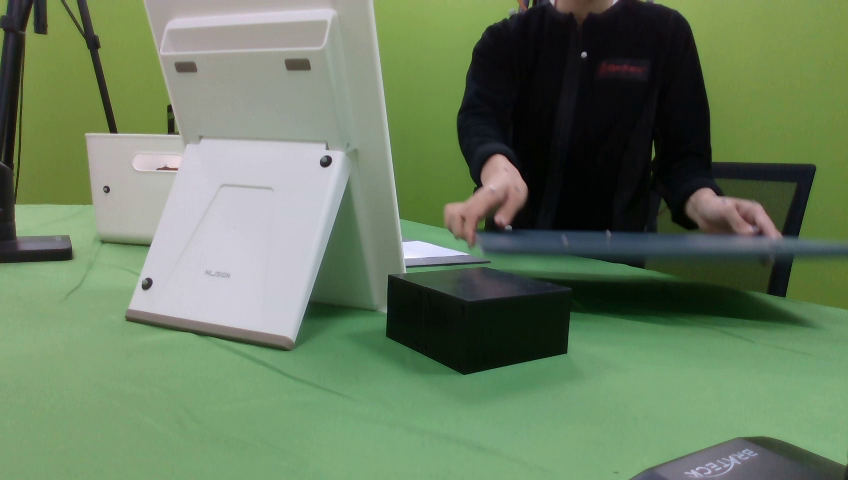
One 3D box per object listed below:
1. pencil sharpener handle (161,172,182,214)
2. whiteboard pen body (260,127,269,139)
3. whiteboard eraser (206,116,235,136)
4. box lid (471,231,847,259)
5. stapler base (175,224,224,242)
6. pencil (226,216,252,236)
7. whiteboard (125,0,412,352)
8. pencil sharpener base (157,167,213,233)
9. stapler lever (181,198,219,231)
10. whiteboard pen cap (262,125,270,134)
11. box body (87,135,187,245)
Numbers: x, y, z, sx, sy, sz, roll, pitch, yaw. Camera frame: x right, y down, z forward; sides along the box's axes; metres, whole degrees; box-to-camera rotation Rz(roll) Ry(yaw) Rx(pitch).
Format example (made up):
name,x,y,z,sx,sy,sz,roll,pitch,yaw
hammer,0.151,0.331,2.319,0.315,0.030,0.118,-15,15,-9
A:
name,x,y,z,sx,sy,sz,roll,pitch,yaw
pencil sharpener handle,-0.410,-0.075,0.973,0.036,0.067,0.031,-10,6,10
whiteboard pen body,-0.366,-0.247,1.392,0.017,0.017,0.140,0,4,-17
whiteboard eraser,-0.450,-0.252,1.335,0.056,0.042,0.112,1,7,-22
box lid,0.242,0.004,0.670,0.372,0.015,0.263,0,4,1
stapler base,-0.348,-0.015,0.946,0.041,0.024,0.130,0,7,-3
pencil,-0.334,-0.025,1.092,0.012,0.012,0.193,2,11,-5
whiteboard,-0.151,-0.049,0.472,0.216,0.305,0.144,6,27,24
pencil sharpener base,-0.405,-0.069,1.025,0.061,0.107,0.077,2,8,9
stapler lever,-0.347,-0.041,0.941,0.027,0.040,0.118,0,9,-3
whiteboard pen cap,-0.349,-0.244,1.336,0.018,0.018,0.033,0,2,-17
box body,-0.338,-0.088,1.022,0.254,0.160,0.364,3,7,9
